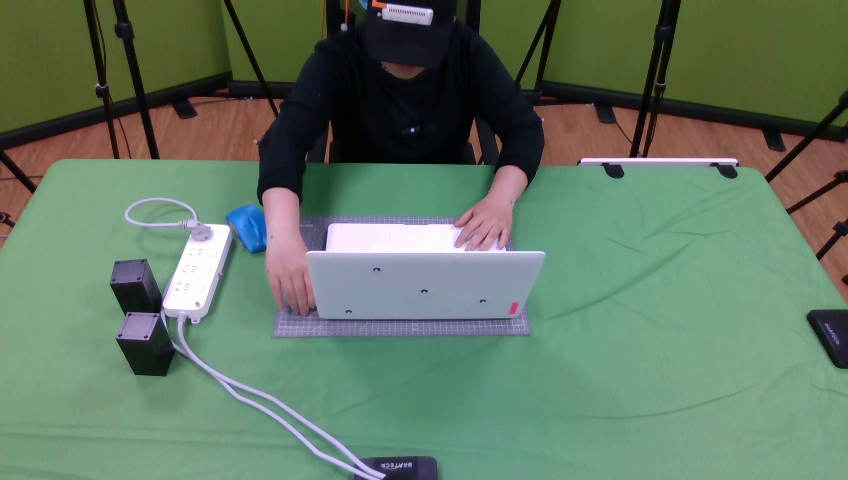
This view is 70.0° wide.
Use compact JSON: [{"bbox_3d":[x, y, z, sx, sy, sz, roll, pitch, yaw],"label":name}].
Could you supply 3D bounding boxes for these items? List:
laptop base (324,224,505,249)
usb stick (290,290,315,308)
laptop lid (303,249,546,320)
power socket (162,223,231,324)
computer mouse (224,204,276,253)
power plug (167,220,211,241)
[{"bbox_3d":[-0.014,0.056,1.144,0.355,0.023,0.234,0,42,-4],"label":"laptop base"},{"bbox_3d":[-0.203,0.104,1.067,0.059,0.027,0.021,4,43,0],"label":"usb stick"},{"bbox_3d":[-0.002,0.077,0.962,0.357,0.242,0.013,1,58,-5],"label":"laptop lid"},{"bbox_3d":[-0.412,0.052,1.106,0.072,0.033,0.225,4,46,-2],"label":"power socket"},{"bbox_3d":[-0.341,-0.026,1.185,0.063,0.041,0.116,-25,57,-30],"label":"computer mouse"},{"bbox_3d":[-0.438,-0.017,1.143,0.072,0.053,0.035,10,43,6],"label":"power plug"}]
